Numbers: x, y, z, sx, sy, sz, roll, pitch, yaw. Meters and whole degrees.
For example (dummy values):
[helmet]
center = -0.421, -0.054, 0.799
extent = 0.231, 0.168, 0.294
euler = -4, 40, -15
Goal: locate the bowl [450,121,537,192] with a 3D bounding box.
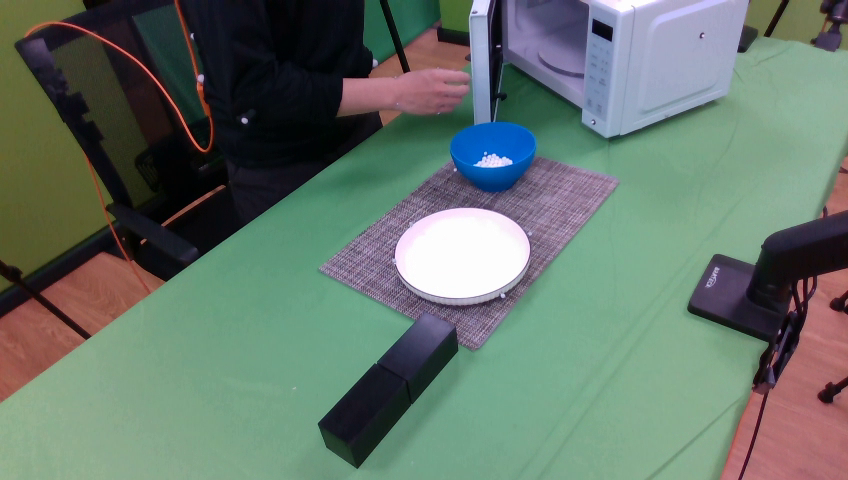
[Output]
[bowl]
center = 0.123, -0.138, 1.064
extent = 0.151, 0.077, 0.150
euler = -4, 40, 4

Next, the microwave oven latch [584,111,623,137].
[microwave oven latch]
center = 0.337, -0.222, 1.142
extent = 0.030, 0.029, 0.078
euler = -21, 42, -14

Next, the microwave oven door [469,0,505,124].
[microwave oven door]
center = 0.133, -0.403, 1.225
extent = 0.039, 0.245, 0.354
euler = 1, 41, 11

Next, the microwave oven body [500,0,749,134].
[microwave oven body]
center = 0.382, -0.444, 1.246
extent = 0.327, 0.261, 0.437
euler = -22, 42, -16

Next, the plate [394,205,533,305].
[plate]
center = 0.059, 0.025, 0.915
extent = 0.207, 0.039, 0.206
euler = -4, 41, 4
